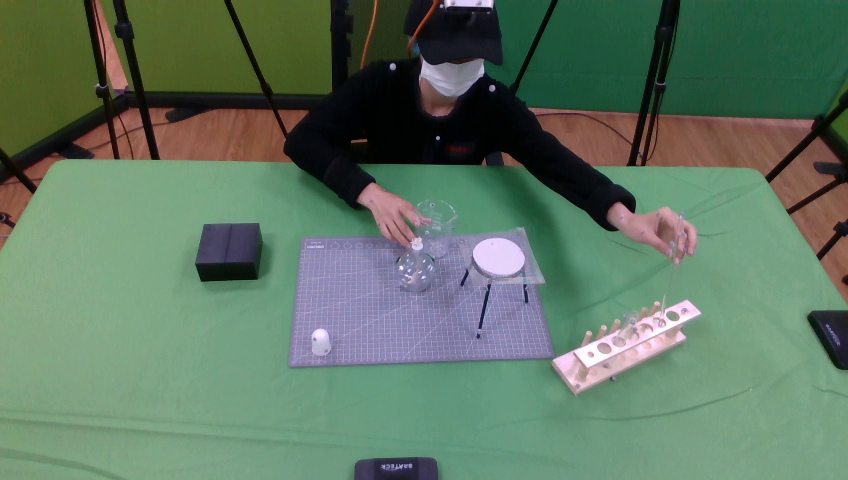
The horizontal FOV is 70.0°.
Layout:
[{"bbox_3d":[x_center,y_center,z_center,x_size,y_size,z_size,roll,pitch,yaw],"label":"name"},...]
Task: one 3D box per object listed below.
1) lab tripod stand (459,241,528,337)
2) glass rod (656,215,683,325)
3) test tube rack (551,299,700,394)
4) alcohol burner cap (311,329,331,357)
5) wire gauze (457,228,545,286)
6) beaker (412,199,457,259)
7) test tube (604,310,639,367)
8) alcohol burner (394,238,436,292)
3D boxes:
[{"bbox_3d":[0.122,0.075,1.054,0.148,0.132,0.147,3,44,-3],"label":"lab tripod stand"},{"bbox_3d":[0.386,0.052,0.955,0.008,0.200,0.008,0,28,0],"label":"glass rod"},{"bbox_3d":[0.339,0.166,1.021,0.242,0.085,0.066,-19,50,-21],"label":"test tube rack"},{"bbox_3d":[-0.173,0.168,1.004,0.034,0.048,0.033,2,46,-2],"label":"alcohol burner cap"},{"bbox_3d":[0.126,0.029,1.006,0.125,0.011,0.120,-4,46,-10],"label":"wire gauze"},{"bbox_3d":[0.018,-0.018,1.160,0.084,0.101,0.073,5,46,-1],"label":"beaker"},{"bbox_3d":[0.310,0.159,0.957,0.017,0.151,0.017,1,49,-1],"label":"test tube"},{"bbox_3d":[-0.016,0.038,1.093,0.078,0.119,0.077,2,48,-2],"label":"alcohol burner"}]
